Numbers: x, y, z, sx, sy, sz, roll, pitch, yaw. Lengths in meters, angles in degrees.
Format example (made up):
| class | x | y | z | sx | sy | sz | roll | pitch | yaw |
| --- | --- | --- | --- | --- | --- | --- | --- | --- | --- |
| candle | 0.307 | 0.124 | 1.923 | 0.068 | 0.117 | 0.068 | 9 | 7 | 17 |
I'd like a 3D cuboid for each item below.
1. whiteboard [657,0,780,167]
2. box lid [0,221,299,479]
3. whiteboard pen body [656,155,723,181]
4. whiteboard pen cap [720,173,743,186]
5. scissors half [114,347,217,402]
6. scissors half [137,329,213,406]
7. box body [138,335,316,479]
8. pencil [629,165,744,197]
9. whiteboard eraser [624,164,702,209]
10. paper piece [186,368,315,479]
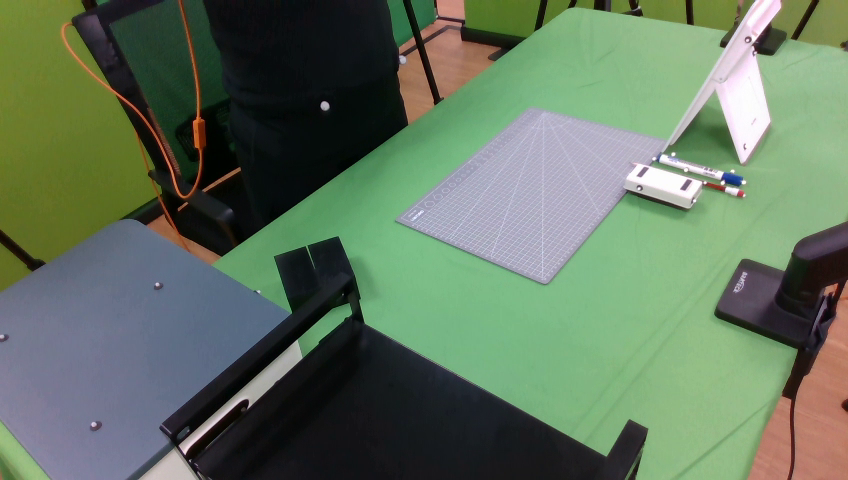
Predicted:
| class | x | y | z | sx | sy | sz | roll | pitch | yaw |
| --- | --- | --- | --- | --- | --- | --- | --- | --- | --- |
| whiteboard | 0.571 | -0.272 | 1.038 | 0.143 | 0.306 | 0.218 | 36 | 54 | 17 |
| box lid | -0.346 | 0.106 | 0.679 | 0.368 | 0.015 | 0.264 | 23 | 49 | 31 |
| whiteboard pen body | 0.475 | -0.123 | 1.052 | 0.139 | 0.017 | 0.017 | 24 | 50 | 32 |
| whiteboard pen cap | 0.519 | -0.103 | 1.020 | 0.033 | 0.018 | 0.018 | 23 | 49 | 30 |
| scissors half | -0.349 | 0.185 | 0.812 | 0.174 | 0.013 | 0.040 | 16 | 52 | 18 |
| scissors half | -0.336 | 0.173 | 0.824 | 0.040 | 0.013 | 0.174 | -35 | 54 | -30 |
| box body | -0.340 | 0.162 | 0.728 | 0.361 | 0.161 | 0.255 | 23 | 48 | 31 |
| pencil | 0.447 | -0.103 | 1.038 | 0.192 | 0.012 | 0.012 | 21 | 48 | 29 |
| whiteboard eraser | 0.396 | -0.087 | 1.003 | 0.112 | 0.042 | 0.056 | 22 | 47 | 31 |
| paper piece | -0.222 | 0.234 | 0.757 | 0.136 | 0.009 | 0.137 | -38 | 35 | -22 |
